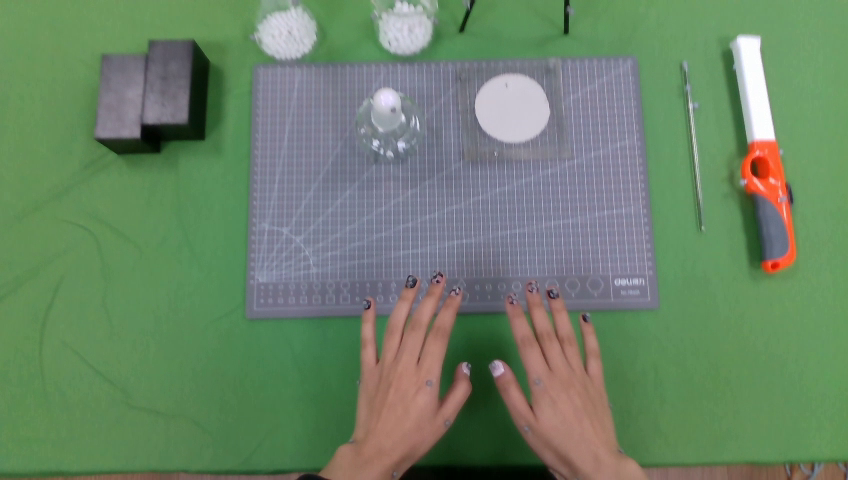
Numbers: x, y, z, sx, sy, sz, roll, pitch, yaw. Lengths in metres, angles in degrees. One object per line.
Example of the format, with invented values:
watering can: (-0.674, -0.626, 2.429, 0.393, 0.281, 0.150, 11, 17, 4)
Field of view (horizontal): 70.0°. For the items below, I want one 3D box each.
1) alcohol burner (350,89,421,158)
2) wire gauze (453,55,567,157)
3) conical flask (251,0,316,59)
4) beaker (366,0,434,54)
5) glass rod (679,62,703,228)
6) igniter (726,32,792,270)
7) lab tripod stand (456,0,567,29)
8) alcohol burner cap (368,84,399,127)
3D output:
alcohol burner: (-0.041, -0.130, 0.640, 0.078, 0.119, 0.077, 0, 81, -1)
wire gauze: (0.099, -0.154, 0.698, 0.125, 0.011, 0.121, -3, 81, -3)
conical flask: (-0.164, -0.258, 0.660, 0.075, 0.122, 0.075, 0, 80, 0)
beaker: (-0.025, -0.259, 0.673, 0.084, 0.100, 0.074, 34, 82, 5)
glass rod: (0.305, -0.111, 0.693, 0.008, 0.008, 0.199, -2, 80, -1)
igniter: (0.376, -0.103, 0.682, 0.057, 0.025, 0.275, -1, 80, -11)
lab tripod stand: (0.103, -0.298, 0.663, 0.148, 0.132, 0.148, 0, 82, 1)
alcohol burner cap: (-0.040, -0.137, 0.604, 0.034, 0.048, 0.033, 1, 80, -6)
